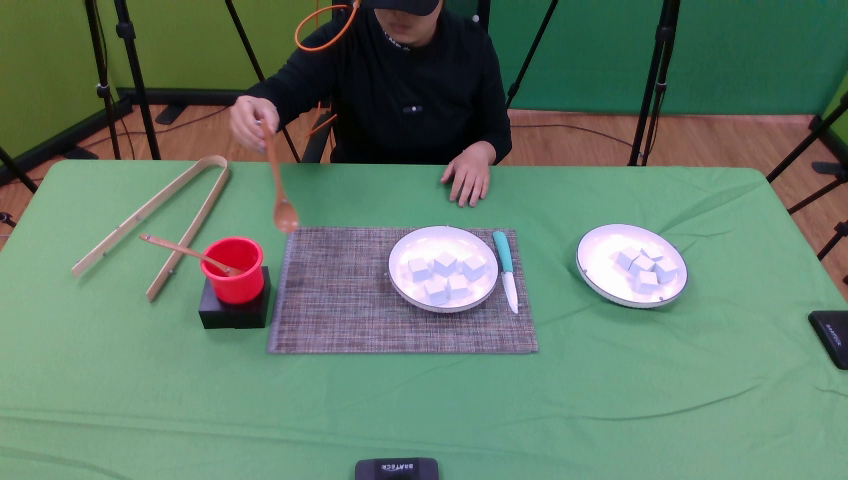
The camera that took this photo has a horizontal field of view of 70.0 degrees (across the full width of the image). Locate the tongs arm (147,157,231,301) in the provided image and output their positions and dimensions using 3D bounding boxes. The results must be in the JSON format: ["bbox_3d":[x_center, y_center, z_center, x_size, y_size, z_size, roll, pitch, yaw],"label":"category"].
[{"bbox_3d":[-0.454,-0.035,1.193,0.028,0.028,0.385,7,46,6],"label":"tongs arm"}]

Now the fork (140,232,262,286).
[{"bbox_3d":[-0.357,0.032,0.985,0.208,0.018,0.028,31,42,-35],"label":"fork"}]

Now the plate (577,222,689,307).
[{"bbox_3d":[0.396,0.050,1.165,0.209,0.038,0.208,2,47,-2],"label":"plate"}]

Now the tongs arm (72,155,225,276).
[{"bbox_3d":[-0.531,-0.058,1.204,0.050,0.026,0.383,19,47,13],"label":"tongs arm"}]

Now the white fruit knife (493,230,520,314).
[{"bbox_3d":[0.160,0.057,1.154,0.027,0.016,0.206,-21,46,16],"label":"white fruit knife"}]

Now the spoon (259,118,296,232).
[{"bbox_3d":[-0.242,-0.104,0.994,0.042,0.194,0.021,-17,29,-24],"label":"spoon"}]

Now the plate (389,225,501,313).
[{"bbox_3d":[0.038,0.057,1.128,0.208,0.039,0.206,2,46,-2],"label":"plate"}]
